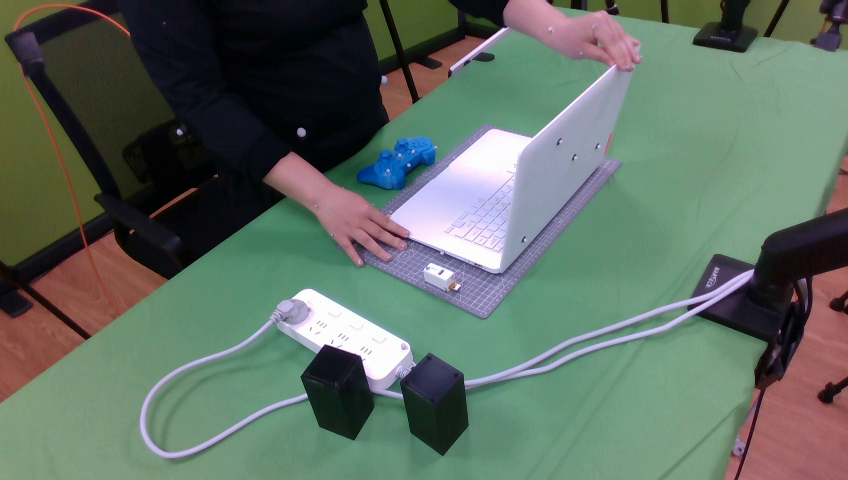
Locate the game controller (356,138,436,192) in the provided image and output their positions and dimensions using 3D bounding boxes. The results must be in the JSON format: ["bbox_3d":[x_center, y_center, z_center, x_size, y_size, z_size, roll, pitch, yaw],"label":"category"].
[{"bbox_3d":[-0.048,-0.149,1.136,0.096,0.052,0.155,27,51,28],"label":"game controller"}]

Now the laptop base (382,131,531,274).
[{"bbox_3d":[0.124,-0.081,1.048,0.233,0.023,0.355,20,47,33],"label":"laptop base"}]

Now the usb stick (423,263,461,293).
[{"bbox_3d":[0.028,0.058,0.888,0.059,0.027,0.021,24,46,28],"label":"usb stick"}]

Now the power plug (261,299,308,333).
[{"bbox_3d":[-0.193,0.110,0.830,0.073,0.053,0.035,-36,48,-23],"label":"power plug"}]

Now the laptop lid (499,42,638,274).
[{"bbox_3d":[0.221,-0.125,0.904,0.013,0.242,0.358,29,50,24],"label":"laptop lid"}]

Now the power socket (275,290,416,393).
[{"bbox_3d":[-0.114,0.133,0.820,0.225,0.033,0.072,24,48,31],"label":"power socket"}]
